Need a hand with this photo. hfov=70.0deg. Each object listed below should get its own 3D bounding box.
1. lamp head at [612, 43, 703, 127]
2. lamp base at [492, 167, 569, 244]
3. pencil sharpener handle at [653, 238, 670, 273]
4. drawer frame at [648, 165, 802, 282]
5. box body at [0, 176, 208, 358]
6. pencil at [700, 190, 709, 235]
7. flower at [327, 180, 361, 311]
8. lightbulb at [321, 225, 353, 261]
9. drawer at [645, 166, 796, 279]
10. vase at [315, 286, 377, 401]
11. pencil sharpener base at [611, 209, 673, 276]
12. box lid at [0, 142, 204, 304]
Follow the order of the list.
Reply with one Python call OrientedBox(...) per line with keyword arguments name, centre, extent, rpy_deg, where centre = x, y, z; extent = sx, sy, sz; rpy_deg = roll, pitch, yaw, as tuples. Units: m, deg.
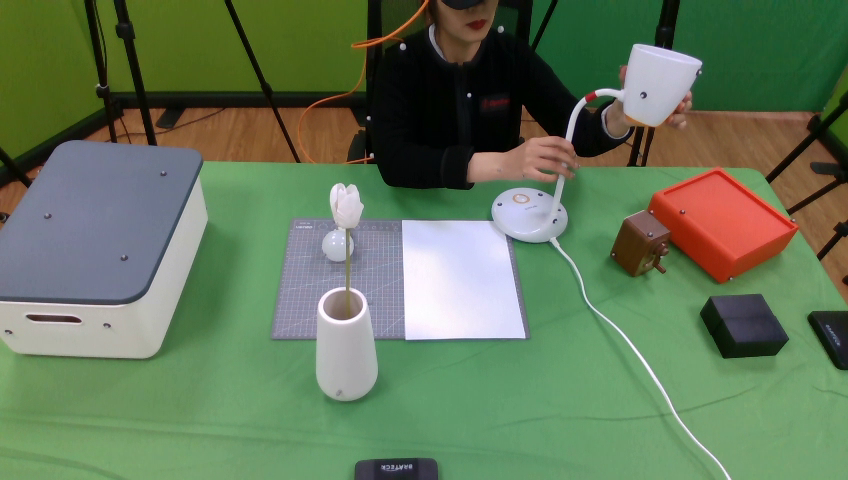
OrientedBox(name="lamp head", centre=(0.367, -0.247, 0.979), extent=(0.112, 0.123, 0.112), rpy_deg=(14, 31, -8))
OrientedBox(name="lamp base", centre=(0.234, -0.102, 1.201), extent=(0.161, 0.181, 0.178), rpy_deg=(-24, 54, -26))
OrientedBox(name="pencil sharpener handle", centre=(0.444, 0.030, 1.120), extent=(0.036, 0.068, 0.030), rpy_deg=(-25, 52, -18))
OrientedBox(name="drawer frame", centre=(0.603, -0.040, 1.234), extent=(0.202, 0.083, 0.212), rpy_deg=(-21, 51, -23))
OrientedBox(name="box body", centre=(-0.546, 0.017, 1.045), extent=(0.254, 0.161, 0.361), rpy_deg=(2, 46, -2))
OrientedBox(name="pencil", centre=(0.583, -0.058, 1.257), extent=(0.012, 0.012, 0.193), rpy_deg=(16, 35, 12))
OrientedBox(name="flower", centre=(-0.110, 0.086, 0.867), extent=(0.044, 0.363, 0.038), rpy_deg=(22, 34, 35))
OrientedBox(name="lightbulb", centre=(-0.163, -0.001, 1.164), extent=(0.059, 0.060, 0.107), rpy_deg=(4, 30, 0))
OrientedBox(name="drawer", centre=(0.600, -0.040, 1.236), extent=(0.195, 0.073, 0.210), rpy_deg=(-21, 52, -23))
OrientedBox(name="vase", centre=(-0.119, 0.159, 0.911), extent=(0.098, 0.201, 0.097), rpy_deg=(2, 47, -2))
OrientedBox(name="pencil sharpener base", centre=(0.416, 0.007, 1.158), extent=(0.061, 0.107, 0.076), rpy_deg=(-21, 51, -22))
OrientedBox(name="box lid", centre=(-0.534, -0.044, 0.995), extent=(0.263, 0.015, 0.369), rpy_deg=(3, 45, -3))
